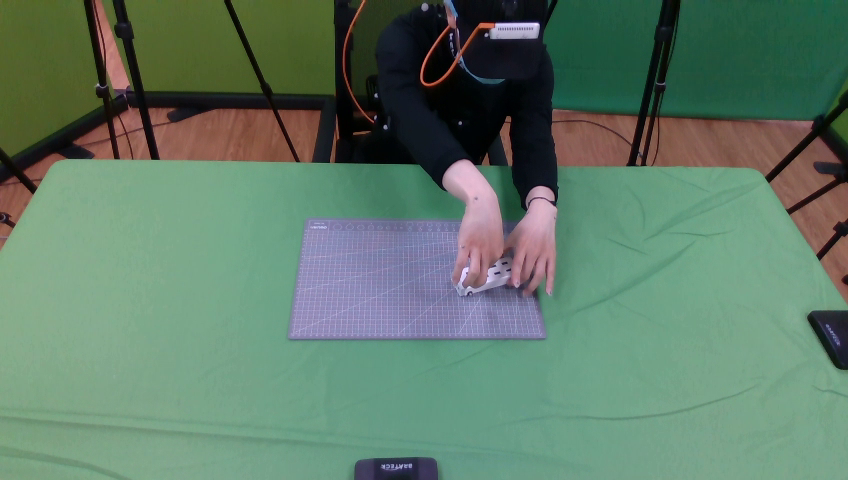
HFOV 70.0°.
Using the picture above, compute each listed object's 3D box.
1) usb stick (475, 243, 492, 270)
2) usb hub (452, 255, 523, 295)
[{"bbox_3d":[0.108,0.035,1.104,0.021,0.059,0.027,-22,49,-18],"label":"usb stick"},{"bbox_3d":[0.119,0.065,1.132,0.125,0.025,0.049,-14,49,-15],"label":"usb hub"}]
